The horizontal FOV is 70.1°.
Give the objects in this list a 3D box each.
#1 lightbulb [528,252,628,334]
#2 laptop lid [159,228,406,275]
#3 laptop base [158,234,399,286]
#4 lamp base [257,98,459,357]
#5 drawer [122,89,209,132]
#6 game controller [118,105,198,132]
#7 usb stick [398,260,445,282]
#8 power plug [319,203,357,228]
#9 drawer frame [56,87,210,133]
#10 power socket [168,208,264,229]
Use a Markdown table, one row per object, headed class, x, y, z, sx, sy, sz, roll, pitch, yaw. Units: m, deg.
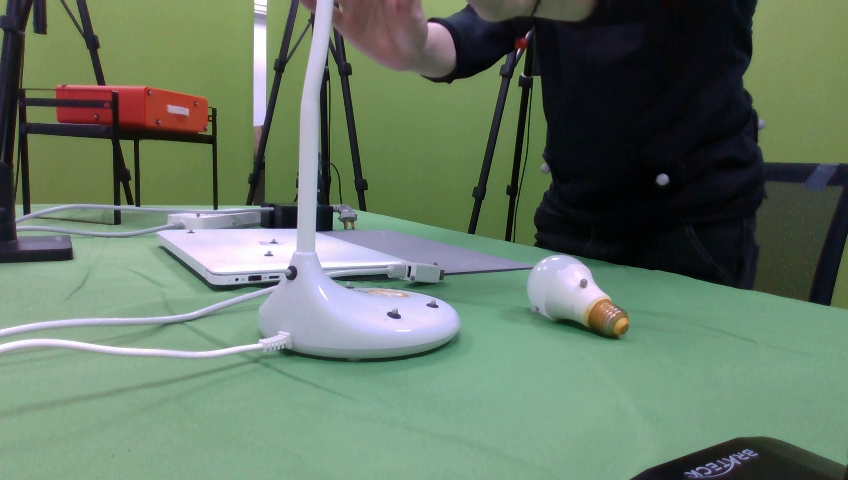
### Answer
| class | x | y | z | sx | sy | sz | roll | pitch | yaw |
| --- | --- | --- | --- | --- | --- | --- | --- | --- | --- |
| lightbulb | 0.137 | 0.050 | 0.534 | 0.060 | 0.059 | 0.107 | -3 | 24 | -32 |
| laptop lid | -0.201 | 0.007 | 0.806 | 0.243 | 0.013 | 0.355 | -1 | 8 | -31 |
| laptop base | -0.204 | 0.019 | 0.807 | 0.237 | 0.023 | 0.352 | 0 | 7 | -33 |
| lamp base | -0.055 | -0.014 | 0.463 | 0.160 | 0.180 | 0.180 | 6 | 11 | 27 |
| drawer | -0.595 | -0.268 | 1.263 | 0.211 | 0.073 | 0.195 | 4 | 8 | 15 |
| game controller | -0.554 | -0.252 | 1.254 | 0.097 | 0.051 | 0.155 | 6 | 11 | 19 |
| usb stick | -0.001 | 0.036 | 0.696 | 0.027 | 0.021 | 0.059 | 9 | 1 | 43 |
| power plug | -0.170 | -0.046 | 1.209 | 0.073 | 0.052 | 0.035 | -6 | -17 | -9 |
| drawer frame | -0.598 | -0.269 | 1.261 | 0.213 | 0.082 | 0.202 | 4 | 8 | 14 |
| power socket | -0.381 | -0.038 | 1.128 | 0.072 | 0.032 | 0.227 | 4 | 8 | 16 |
